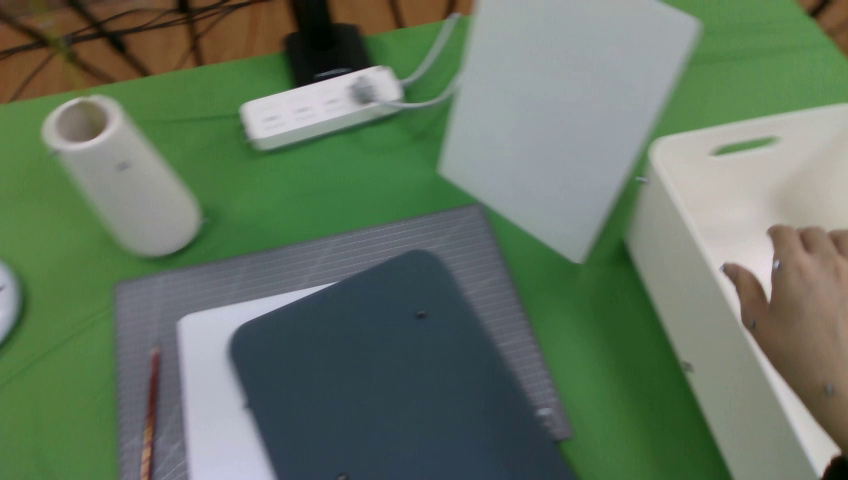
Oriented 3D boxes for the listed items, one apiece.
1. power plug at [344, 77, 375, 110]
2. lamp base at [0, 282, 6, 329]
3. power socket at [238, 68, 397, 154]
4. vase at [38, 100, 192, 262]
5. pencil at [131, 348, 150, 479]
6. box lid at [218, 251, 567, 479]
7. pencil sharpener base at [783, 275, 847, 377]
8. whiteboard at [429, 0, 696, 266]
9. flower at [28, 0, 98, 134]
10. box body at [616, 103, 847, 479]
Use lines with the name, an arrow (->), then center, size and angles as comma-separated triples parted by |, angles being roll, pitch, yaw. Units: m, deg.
power plug -> -0.085, -0.183, 0.801 | 0.035, 0.053, 0.072 | -10, 61, -5
lamp base -> -0.561, 0.051, 0.606 | 0.178, 0.182, 0.159 | 14, 60, 12
power socket -> -0.144, -0.177, 0.825 | 0.227, 0.033, 0.071 | -19, 62, -11
vase -> -0.330, -0.057, 0.658 | 0.098, 0.201, 0.097 | -1, 59, 2
pencil -> -0.288, 0.199, 0.613 | 0.012, 0.012, 0.192 | -8, 58, -4
box lid -> -0.033, 0.194, 0.615 | 0.263, 0.015, 0.368 | -25, 63, -14
pencil sharpener base -> 0.432, 0.088, 0.613 | 0.061, 0.108, 0.076 | -11, 60, -8
whiteboard -> 0.160, -0.164, 0.692 | 0.215, 0.307, 0.144 | 36, 47, 20
flower -> -0.329, -0.116, 0.597 | 0.038, 0.365, 0.043 | -24, 43, -21
box body -> 0.376, 0.064, 0.602 | 0.254, 0.162, 0.360 | -11, 60, -6
